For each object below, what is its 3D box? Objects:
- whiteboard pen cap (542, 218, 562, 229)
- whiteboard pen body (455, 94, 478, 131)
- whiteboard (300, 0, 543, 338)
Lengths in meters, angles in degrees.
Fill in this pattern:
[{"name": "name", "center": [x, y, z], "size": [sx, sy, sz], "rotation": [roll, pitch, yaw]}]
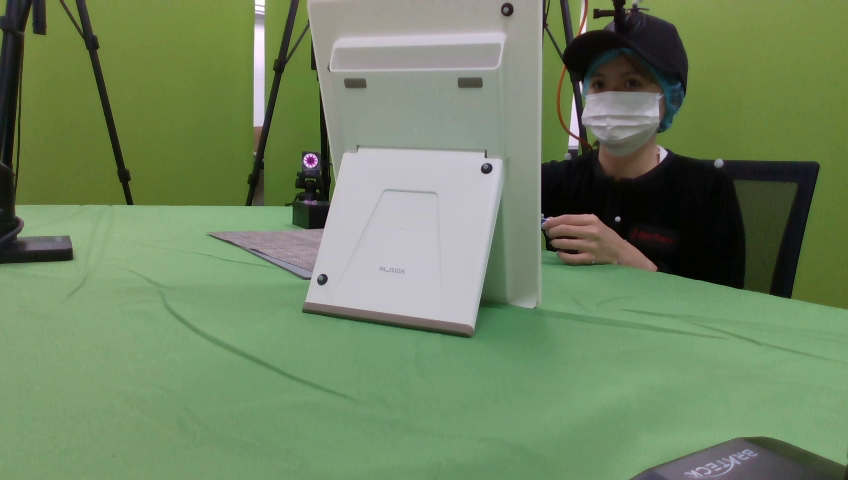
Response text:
[{"name": "whiteboard pen cap", "center": [0.193, -0.025, 0.922], "size": [0.033, 0.018, 0.018], "rotation": [3, 7, 34]}, {"name": "whiteboard pen body", "center": [0.048, -0.144, 0.687], "size": [0.017, 0.017, 0.140], "rotation": [2, 26, -4]}, {"name": "whiteboard", "center": [-0.020, -0.050, 0.523], "size": [0.216, 0.305, 0.144], "rotation": [6, 27, 22]}]
